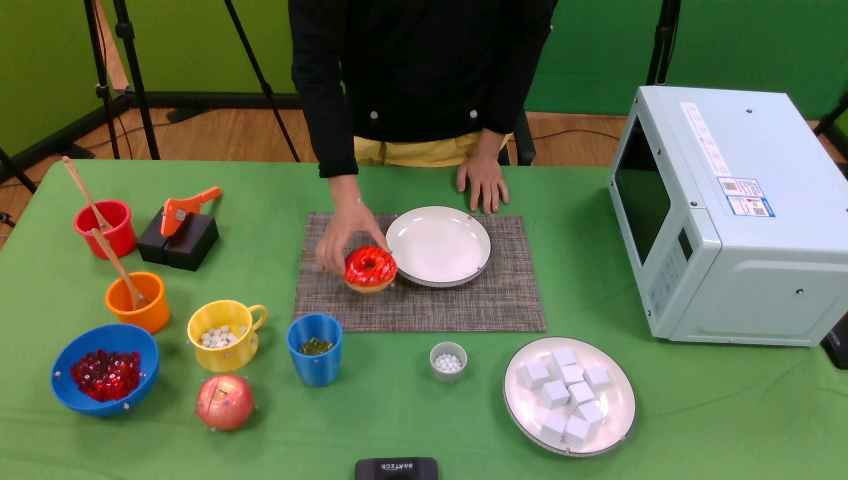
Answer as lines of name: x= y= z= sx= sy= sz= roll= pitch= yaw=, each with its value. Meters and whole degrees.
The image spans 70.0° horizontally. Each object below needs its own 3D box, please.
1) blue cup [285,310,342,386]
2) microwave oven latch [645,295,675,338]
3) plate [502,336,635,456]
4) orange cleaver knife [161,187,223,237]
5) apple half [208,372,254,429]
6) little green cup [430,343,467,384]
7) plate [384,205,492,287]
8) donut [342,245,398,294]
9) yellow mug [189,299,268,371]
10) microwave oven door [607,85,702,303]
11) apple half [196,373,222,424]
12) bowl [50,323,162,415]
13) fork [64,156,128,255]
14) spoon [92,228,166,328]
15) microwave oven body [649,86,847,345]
blue cup: x=-0.170 y=0.179 z=0.958 sx=0.093 sy=0.101 sz=0.092 roll=2 pitch=44 yaw=-1
microwave oven latch: x=0.412 y=0.134 z=1.061 sx=0.030 sy=0.029 sz=0.078 roll=3 pitch=45 yaw=0
plate: x=0.225 y=0.248 z=0.963 sx=0.208 sy=0.039 sz=0.206 roll=2 pitch=46 yaw=-2
orange cleaver knife: x=-0.448 y=-0.058 z=1.180 sx=0.012 sy=0.077 sz=0.211 roll=13 pitch=17 yaw=6
apple half: x=-0.283 y=0.244 z=0.908 sx=0.053 sy=0.075 sz=0.080 roll=7 pitch=42 yaw=-1
little green cup: x=0.039 y=0.203 z=0.994 sx=0.061 sy=0.039 sz=0.061 roll=2 pitch=46 yaw=-2
plate: x=0.027 y=0.015 z=1.169 sx=0.209 sy=0.038 sz=0.208 roll=2 pitch=46 yaw=-2
donut: x=-0.094 y=0.050 z=1.056 sx=0.099 sy=0.048 sz=0.098 roll=-2 pitch=47 yaw=3
yellow mug: x=-0.316 y=0.148 z=1.002 sx=0.131 sy=0.064 sz=0.099 roll=-32 pitch=56 yaw=-32
microwave oven door: x=0.423 y=-0.094 z=1.141 sx=0.039 sy=0.245 sz=0.353 roll=2 pitch=46 yaw=-1
apple half: x=-0.322 y=0.239 z=0.907 sx=0.033 sy=0.081 sz=0.081 roll=7 pitch=46 yaw=-1
bowl: x=-0.472 y=0.209 z=0.924 sx=0.151 sy=0.077 sz=0.150 roll=3 pitch=45 yaw=-2
fork: x=-0.614 y=-0.064 z=1.130 sx=0.028 sy=0.018 sz=0.207 roll=-30 pitch=97 yaw=-16
spoon: x=-0.495 y=0.063 z=1.014 sx=0.041 sy=0.194 sz=0.021 roll=-34 pitch=13 yaw=-31
microwave oven body: x=0.568 y=-0.053 z=1.118 sx=0.326 sy=0.261 sz=0.439 roll=2 pitch=45 yaw=-1
